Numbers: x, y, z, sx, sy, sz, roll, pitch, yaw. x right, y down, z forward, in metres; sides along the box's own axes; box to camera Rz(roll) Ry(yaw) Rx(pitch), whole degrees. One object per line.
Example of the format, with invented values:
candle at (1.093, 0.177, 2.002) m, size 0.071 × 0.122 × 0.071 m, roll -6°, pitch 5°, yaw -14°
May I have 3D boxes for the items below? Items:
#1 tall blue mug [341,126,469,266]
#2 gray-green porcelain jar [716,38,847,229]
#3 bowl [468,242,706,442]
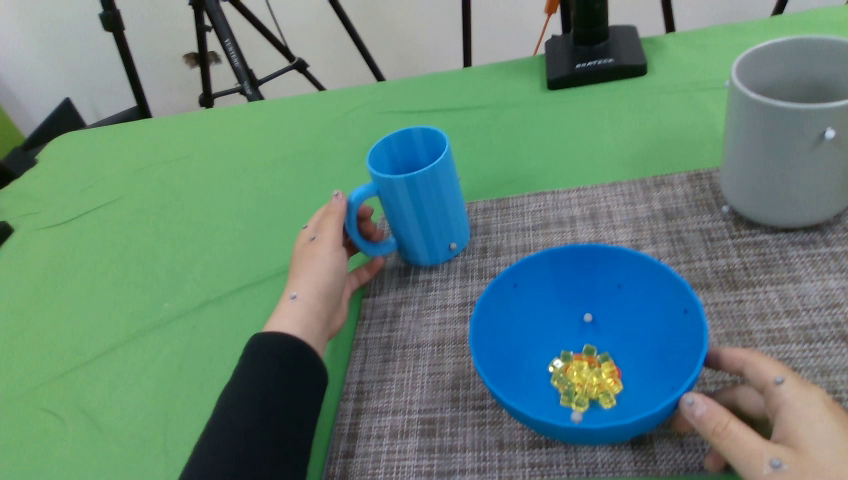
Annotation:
tall blue mug at (-0.014, -0.030, 0.557) m, size 0.077 × 0.109 × 0.107 m, roll 18°, pitch 53°, yaw 33°
gray-green porcelain jar at (0.298, -0.080, 0.493) m, size 0.106 × 0.128 × 0.105 m, roll -10°, pitch 42°, yaw 9°
bowl at (0.110, 0.081, 0.417) m, size 0.151 × 0.077 × 0.150 m, roll -9°, pitch 42°, yaw 9°
